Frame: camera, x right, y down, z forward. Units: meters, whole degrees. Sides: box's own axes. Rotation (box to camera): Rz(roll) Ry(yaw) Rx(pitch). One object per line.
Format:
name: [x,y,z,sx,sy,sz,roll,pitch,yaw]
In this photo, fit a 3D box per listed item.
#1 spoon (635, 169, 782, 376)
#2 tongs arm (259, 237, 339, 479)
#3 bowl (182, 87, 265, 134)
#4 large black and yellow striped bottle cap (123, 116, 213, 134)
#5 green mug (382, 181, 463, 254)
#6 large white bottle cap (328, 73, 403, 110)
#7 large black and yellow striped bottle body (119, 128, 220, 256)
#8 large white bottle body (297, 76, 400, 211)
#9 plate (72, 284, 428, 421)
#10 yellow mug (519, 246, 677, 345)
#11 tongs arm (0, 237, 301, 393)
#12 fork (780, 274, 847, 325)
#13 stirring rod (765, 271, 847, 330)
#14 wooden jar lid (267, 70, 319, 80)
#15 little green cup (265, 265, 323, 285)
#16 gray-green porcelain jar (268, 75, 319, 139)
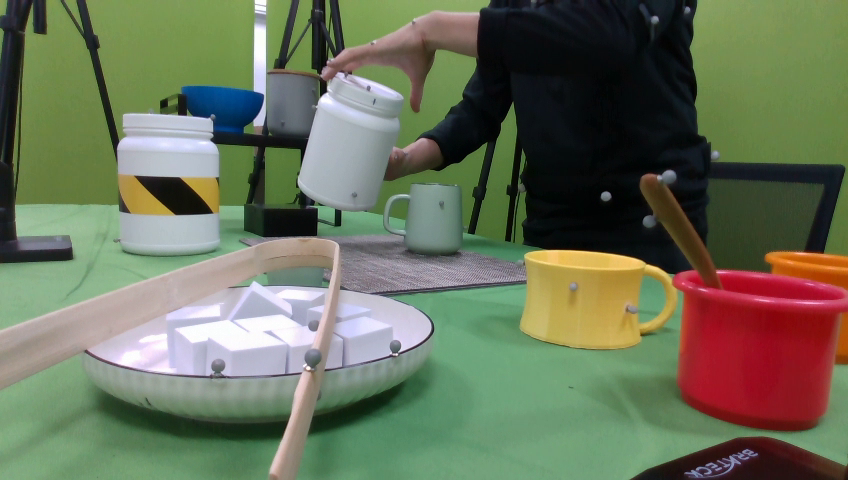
spoon: [0.161,0.026,0.346,0.041,0.194,0.021,10,56,53]
tongs arm: [-0.074,0.040,0.345,0.051,0.026,0.384,-2,9,-3]
bowl: [-0.383,-0.244,1.158,0.151,0.077,0.151,2,7,0]
large black and yellow striped bottle cap: [-0.353,-0.159,0.838,0.115,0.019,0.115,2,6,0]
green mug: [-0.001,-0.036,0.922,0.126,0.105,0.092,0,8,-15]
large white bottle cap: [-0.088,-0.226,0.918,0.115,0.018,0.114,18,22,-7]
large black and yellow striped bottle body: [-0.355,-0.076,0.850,0.131,0.184,0.130,2,8,0]
large white bottle body: [-0.115,-0.153,0.948,0.131,0.184,0.130,17,22,-7]
plate: [-0.102,0.066,0.381,0.208,0.039,0.207,3,7,0]
yellow mug: [0.148,0.045,0.513,0.131,0.064,0.100,3,7,0]
tongs arm: [-0.158,0.039,0.347,0.028,0.028,0.388,-3,8,11]
fork: [0.332,0.018,0.443,0.028,0.018,0.207,-3,-35,-16]
stirring rod: [0.352,0.020,0.481,0.176,0.006,0.014,-40,-7,17]
wooden jar lid: [-0.275,-0.340,1.271,0.108,0.020,0.108,5,6,0]
little green cup: [-0.134,0.033,0.627,0.061,0.038,0.061,3,7,0]
gray-green porcelain jar: [-0.277,-0.279,1.280,0.106,0.126,0.106,2,8,0]
